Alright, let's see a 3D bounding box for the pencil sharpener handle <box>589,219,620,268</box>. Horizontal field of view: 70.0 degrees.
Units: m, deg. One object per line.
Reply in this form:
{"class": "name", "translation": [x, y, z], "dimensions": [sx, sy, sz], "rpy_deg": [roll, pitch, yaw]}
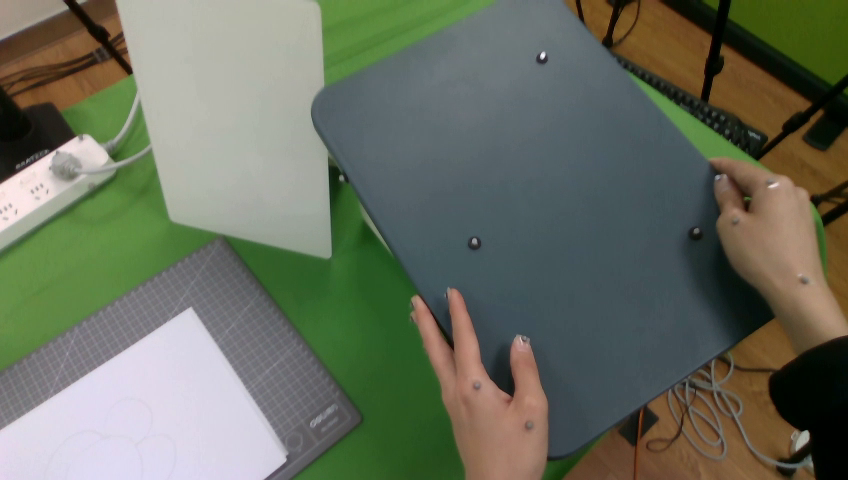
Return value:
{"class": "pencil sharpener handle", "translation": [0.202, 0.007, 0.657], "dimensions": [0.036, 0.068, 0.030], "rpy_deg": [-39, 65, -6]}

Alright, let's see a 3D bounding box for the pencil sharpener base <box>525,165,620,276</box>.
{"class": "pencil sharpener base", "translation": [0.167, -0.018, 0.688], "dimensions": [0.061, 0.108, 0.076], "rpy_deg": [-33, 64, -19]}

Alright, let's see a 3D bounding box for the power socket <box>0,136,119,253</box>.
{"class": "power socket", "translation": [-0.498, -0.053, 0.772], "dimensions": [0.071, 0.033, 0.226], "rpy_deg": [40, 66, 22]}

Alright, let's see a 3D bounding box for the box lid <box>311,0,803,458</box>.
{"class": "box lid", "translation": [0.093, -0.045, 0.500], "dimensions": [0.263, 0.015, 0.368], "rpy_deg": [-29, 69, -11]}

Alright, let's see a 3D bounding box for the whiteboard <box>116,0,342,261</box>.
{"class": "whiteboard", "translation": [-0.188, -0.155, 0.705], "dimensions": [0.216, 0.308, 0.143], "rpy_deg": [13, 40, 10]}

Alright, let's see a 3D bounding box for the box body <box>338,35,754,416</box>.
{"class": "box body", "translation": [0.109, -0.023, 0.665], "dimensions": [0.254, 0.162, 0.360], "rpy_deg": [-33, 63, -18]}

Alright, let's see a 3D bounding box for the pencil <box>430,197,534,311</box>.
{"class": "pencil", "translation": [0.067, 0.014, 0.726], "dimensions": [0.012, 0.012, 0.192], "rpy_deg": [-33, 64, -17]}

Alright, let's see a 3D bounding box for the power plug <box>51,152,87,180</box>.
{"class": "power plug", "translation": [-0.442, -0.080, 0.760], "dimensions": [0.035, 0.053, 0.072], "rpy_deg": [-32, 64, -17]}
